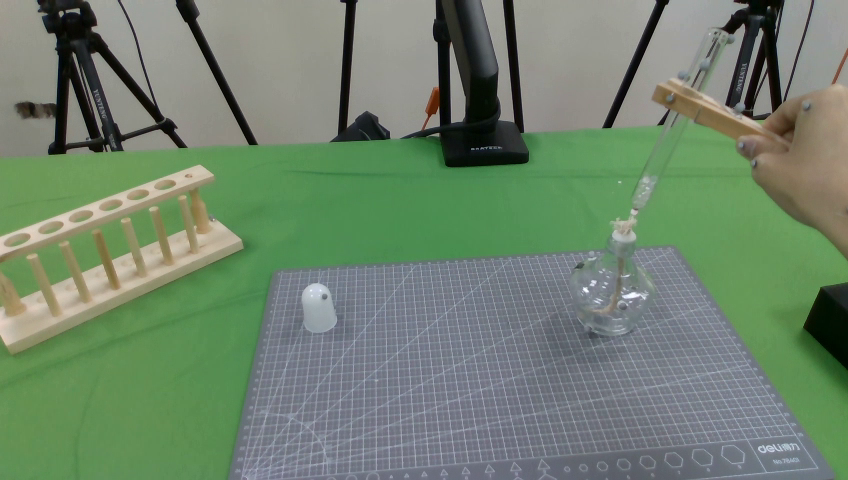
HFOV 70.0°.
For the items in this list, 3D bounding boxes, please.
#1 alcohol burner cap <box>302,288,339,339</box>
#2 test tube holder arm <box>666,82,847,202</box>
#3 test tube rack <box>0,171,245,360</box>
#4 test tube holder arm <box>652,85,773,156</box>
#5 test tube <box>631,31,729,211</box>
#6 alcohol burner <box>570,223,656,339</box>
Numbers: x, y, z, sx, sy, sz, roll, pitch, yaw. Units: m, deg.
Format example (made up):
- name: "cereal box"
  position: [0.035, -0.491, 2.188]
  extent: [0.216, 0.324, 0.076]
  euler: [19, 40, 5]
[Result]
- name: "alcohol burner cap"
  position: [-0.100, 0.067, 0.580]
  extent: [0.034, 0.048, 0.033]
  euler: [-1, 35, 1]
- name: "test tube holder arm"
  position: [0.235, -0.062, 0.407]
  extent: [0.013, 0.015, 0.176]
  euler: [-23, 50, -31]
- name: "test tube rack"
  position: [-0.318, 0.016, 0.627]
  extent: [0.242, 0.086, 0.066]
  euler: [-29, 43, -34]
- name: "test tube holder arm"
  position: [0.202, -0.085, 0.427]
  extent: [0.087, 0.015, 0.010]
  euler: [36, 47, 28]
- name: "test tube"
  position: [0.188, -0.083, 0.456]
  extent: [0.017, 0.151, 0.017]
  euler: [6, 40, -5]
- name: "alcohol burner"
  position: [0.176, 0.033, 0.556]
  extent: [0.078, 0.120, 0.077]
  euler: [0, 37, 1]
